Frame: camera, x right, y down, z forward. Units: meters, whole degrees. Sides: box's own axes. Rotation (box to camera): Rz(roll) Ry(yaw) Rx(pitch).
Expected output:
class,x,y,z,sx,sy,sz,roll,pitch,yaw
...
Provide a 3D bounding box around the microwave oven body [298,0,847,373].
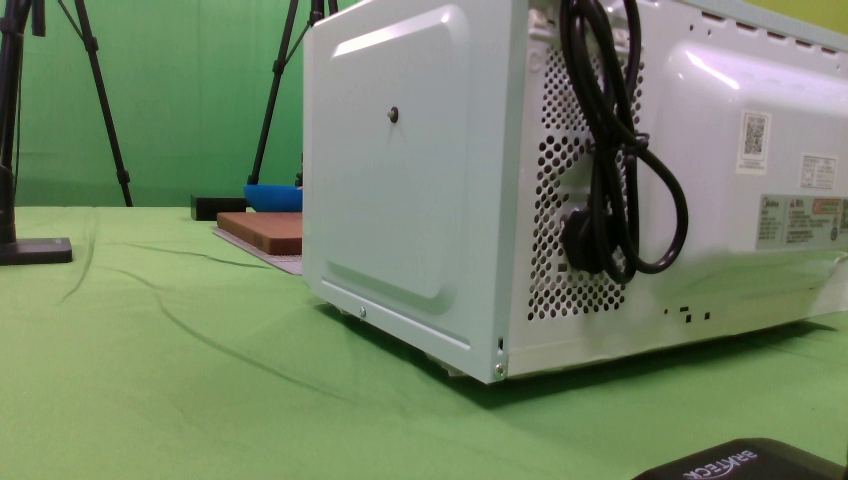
class,x,y,z,sx,sy,sz,roll,pitch,yaw
microwave oven body,0.151,-0.055,0.543,0.444,0.260,0.324,-1,7,-33

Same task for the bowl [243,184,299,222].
class,x,y,z,sx,sy,sz,roll,pitch,yaw
bowl,-0.321,-0.081,1.333,0.151,0.077,0.151,3,7,0

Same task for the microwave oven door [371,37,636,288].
class,x,y,z,sx,sy,sz,roll,pitch,yaw
microwave oven door,0.110,-0.080,0.686,0.358,0.243,0.039,-2,9,-33

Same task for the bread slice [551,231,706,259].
class,x,y,z,sx,sy,sz,roll,pitch,yaw
bread slice,0.203,0.005,0.585,0.105,0.019,0.131,6,-4,-21

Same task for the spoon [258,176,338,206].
class,x,y,z,sx,sy,sz,roll,pitch,yaw
spoon,-0.279,-0.112,1.356,0.194,0.021,0.041,-27,18,-27

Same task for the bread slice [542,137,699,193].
class,x,y,z,sx,sy,sz,roll,pitch,yaw
bread slice,0.199,-0.074,0.600,0.107,0.018,0.133,-1,22,-44

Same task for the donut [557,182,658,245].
class,x,y,z,sx,sy,sz,roll,pitch,yaw
donut,0.184,-0.028,0.609,0.099,0.048,0.099,12,-11,3

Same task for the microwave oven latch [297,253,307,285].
class,x,y,z,sx,sy,sz,roll,pitch,yaw
microwave oven latch,-0.082,0.027,0.582,0.079,0.029,0.030,-1,7,-33
